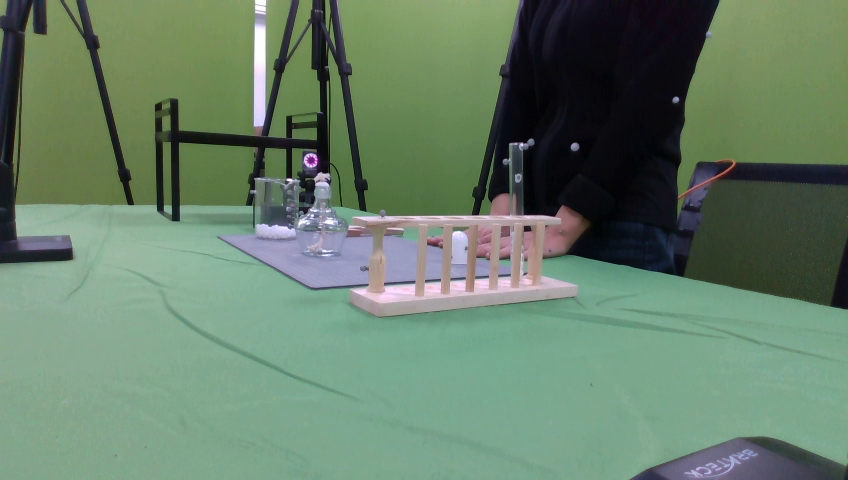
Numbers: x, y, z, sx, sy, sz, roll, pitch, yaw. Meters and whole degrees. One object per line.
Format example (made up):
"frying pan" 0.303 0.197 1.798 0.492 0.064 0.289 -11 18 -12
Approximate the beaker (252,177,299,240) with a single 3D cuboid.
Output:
"beaker" -0.245 -0.052 1.005 0.074 0.100 0.083 -2 10 -32

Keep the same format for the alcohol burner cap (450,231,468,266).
"alcohol burner cap" 0.046 0.011 0.838 0.034 0.048 0.034 2 6 0

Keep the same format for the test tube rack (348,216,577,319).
"test tube rack" 0.048 0.021 0.619 0.244 0.085 0.066 -2 9 -31

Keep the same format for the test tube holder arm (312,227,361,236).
"test tube holder arm" -0.154 -0.015 1.069 0.088 0.015 0.010 0 39 -32

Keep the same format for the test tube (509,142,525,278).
"test tube" 0.102 -0.031 0.663 0.017 0.150 0.017 -2 9 1

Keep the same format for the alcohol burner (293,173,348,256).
"alcohol burner" -0.146 -0.036 0.859 0.078 0.119 0.078 4 8 0

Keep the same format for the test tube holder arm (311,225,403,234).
"test tube holder arm" -0.118 -0.019 1.097 0.179 0.015 0.013 -1 40 -34
